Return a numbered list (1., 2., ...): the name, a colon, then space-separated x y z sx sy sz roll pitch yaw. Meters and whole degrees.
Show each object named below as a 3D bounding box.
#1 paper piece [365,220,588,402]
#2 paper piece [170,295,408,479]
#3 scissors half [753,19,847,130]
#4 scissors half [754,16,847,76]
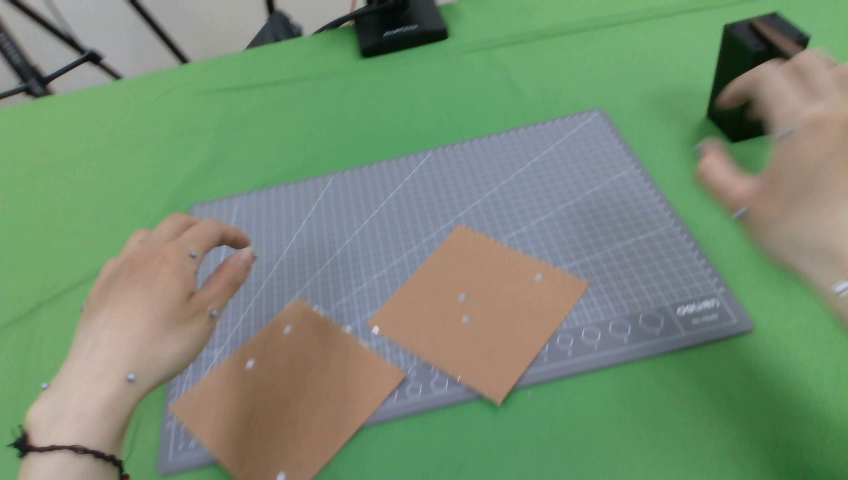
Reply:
1. paper piece: 0.043 0.049 0.494 0.134 0.004 0.135 26 58 31
2. paper piece: -0.106 0.116 0.466 0.134 0.009 0.138 29 60 35
3. scissors half: 0.300 -0.137 0.477 0.040 0.013 0.173 -13 44 10
4. scissors half: 0.318 -0.145 0.475 0.040 0.013 0.173 -29 42 2
